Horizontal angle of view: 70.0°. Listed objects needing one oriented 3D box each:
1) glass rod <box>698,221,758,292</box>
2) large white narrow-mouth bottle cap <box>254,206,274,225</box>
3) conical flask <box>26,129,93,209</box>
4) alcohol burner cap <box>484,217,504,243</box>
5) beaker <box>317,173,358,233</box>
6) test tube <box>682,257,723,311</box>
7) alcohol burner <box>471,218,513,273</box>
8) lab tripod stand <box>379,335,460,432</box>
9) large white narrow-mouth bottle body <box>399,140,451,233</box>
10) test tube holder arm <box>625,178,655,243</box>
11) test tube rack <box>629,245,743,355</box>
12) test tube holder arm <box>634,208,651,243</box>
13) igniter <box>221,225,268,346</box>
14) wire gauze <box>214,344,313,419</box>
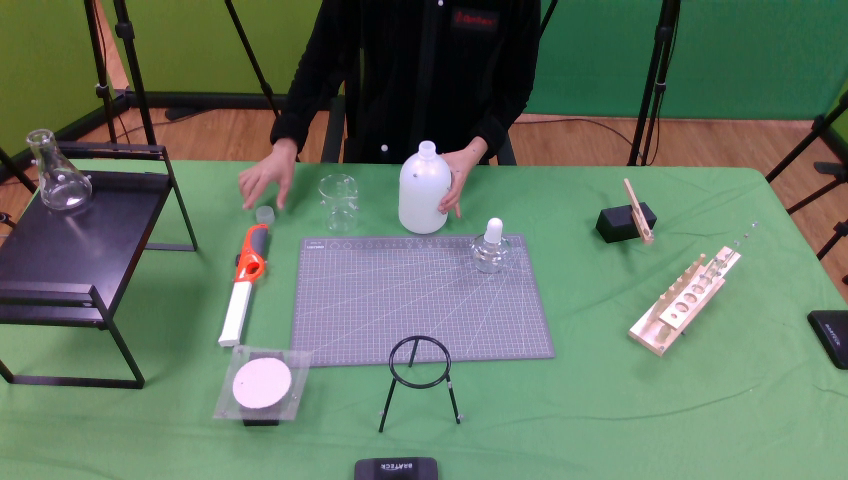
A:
[{"bbox_3d":[0.527,0.035,1.059,0.008,0.200,0.008,5,49,-6],"label":"glass rod"},{"bbox_3d":[-0.323,-0.049,1.222,0.038,0.024,0.037,2,47,-2],"label":"large white narrow-mouth bottle cap"},{"bbox_3d":[-0.575,-0.113,0.946,0.075,0.122,0.075,2,46,-2],"label":"conical flask"},{"bbox_3d":[0.130,-0.021,1.107,0.034,0.048,0.033,4,40,-3],"label":"alcohol burner cap"},{"bbox_3d":[-0.166,-0.069,1.198,0.083,0.101,0.074,25,50,18],"label":"beaker"},{"bbox_3d":[0.475,0.080,1.037,0.017,0.151,0.017,1,50,-1],"label":"test tube"},{"bbox_3d":[0.128,0.005,1.132,0.078,0.120,0.077,0,47,0],"label":"alcohol burner"},{"bbox_3d":[-0.011,0.214,0.911,0.148,0.132,0.147,1,45,0],"label":"lab tripod stand"},{"bbox_3d":[0.003,-0.111,1.183,0.102,0.195,0.101,2,47,-2],"label":"large white narrow-mouth bottle body"},{"bbox_3d":[0.433,-0.062,1.220,0.013,0.015,0.177,0,47,-3],"label":"test tube holder arm"},{"bbox_3d":[0.474,0.095,1.091,0.242,0.085,0.066,-34,56,-31],"label":"test tube rack"},{"bbox_3d":[0.428,-0.030,1.189,0.010,0.015,0.087,1,47,-2],"label":"test tube holder arm"},{"bbox_3d":[-0.323,0.072,1.100,0.057,0.025,0.274,-6,45,5],"label":"igniter"},{"bbox_3d":[-0.241,0.213,0.915,0.121,0.011,0.124,5,46,1],"label":"wire gauze"}]
